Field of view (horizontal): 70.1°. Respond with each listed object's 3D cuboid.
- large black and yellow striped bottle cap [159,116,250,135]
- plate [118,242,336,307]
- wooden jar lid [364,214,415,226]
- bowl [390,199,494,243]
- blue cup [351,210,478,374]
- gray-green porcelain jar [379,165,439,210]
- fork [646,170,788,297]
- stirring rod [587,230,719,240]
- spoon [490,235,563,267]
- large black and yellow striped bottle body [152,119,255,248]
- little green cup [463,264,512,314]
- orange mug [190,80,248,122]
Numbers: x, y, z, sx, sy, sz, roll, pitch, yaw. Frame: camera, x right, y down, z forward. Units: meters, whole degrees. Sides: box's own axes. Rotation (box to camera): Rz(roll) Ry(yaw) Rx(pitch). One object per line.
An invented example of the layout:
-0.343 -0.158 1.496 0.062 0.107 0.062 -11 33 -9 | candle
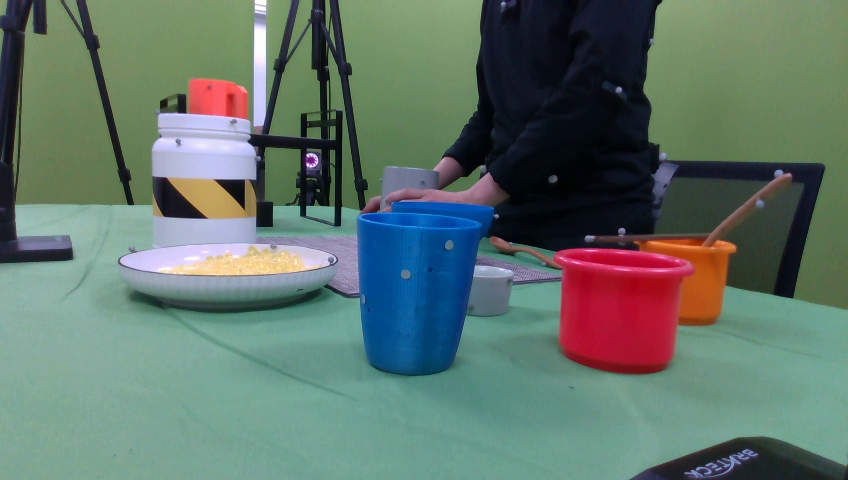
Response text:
-0.292 -0.153 0.810 0.115 0.019 0.115 3 9 0 | large black and yellow striped bottle cap
-0.194 0.033 0.615 0.209 0.038 0.209 2 7 0 | plate
-0.073 -0.042 1.290 0.108 0.020 0.108 5 5 0 | wooden jar lid
0.024 -0.015 0.872 0.151 0.077 0.151 3 7 0 | bowl
-0.009 0.034 0.414 0.093 0.100 0.092 3 9 0 | blue cup
-0.030 -0.072 1.126 0.106 0.126 0.106 5 4 0 | gray-green porcelain jar
0.256 0.004 0.543 0.028 0.018 0.207 3 -36 -9 | fork
0.226 -0.005 0.587 0.177 0.006 0.014 -2 10 -29 | stirring rod
0.155 0.015 0.926 0.042 0.021 0.193 19 0 -23 | spoon
-0.296 -0.070 0.819 0.131 0.184 0.130 2 7 0 | large black and yellow striped bottle body
0.053 0.047 0.580 0.061 0.038 0.061 3 8 0 | little green cup
-0.394 -0.257 1.173 0.126 0.100 0.084 1 6 25 | orange mug
